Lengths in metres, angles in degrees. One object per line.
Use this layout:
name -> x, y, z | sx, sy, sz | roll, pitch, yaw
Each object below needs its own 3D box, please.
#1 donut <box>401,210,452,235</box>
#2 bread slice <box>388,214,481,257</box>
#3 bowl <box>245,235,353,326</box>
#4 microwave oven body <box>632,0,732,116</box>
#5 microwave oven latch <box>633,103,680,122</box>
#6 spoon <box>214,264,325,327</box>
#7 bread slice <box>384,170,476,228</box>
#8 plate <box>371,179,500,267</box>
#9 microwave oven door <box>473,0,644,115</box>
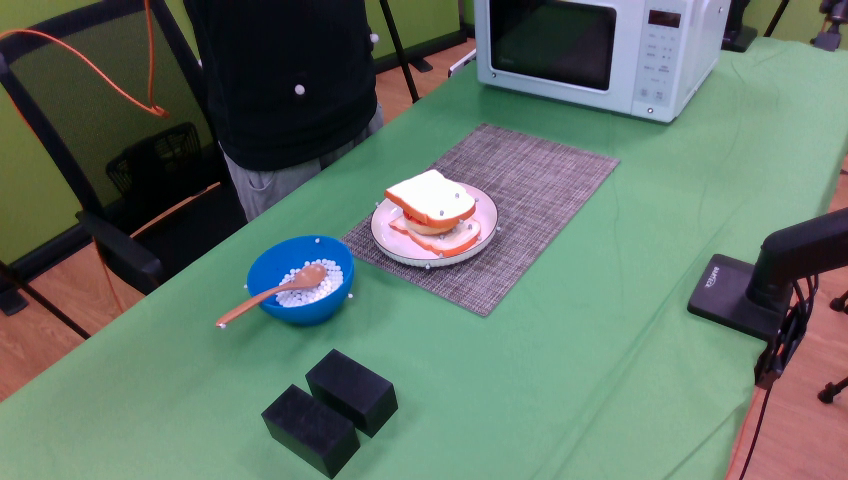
donut -> 0.013, -0.047, 0.957 | 0.099, 0.048, 0.098 | -7, 40, 6
bread slice -> 0.026, -0.023, 0.973 | 0.107, 0.018, 0.133 | -36, 49, -28
bowl -> -0.171, 0.070, 0.868 | 0.151, 0.077, 0.150 | -4, 41, 4
microwave oven body -> 0.377, -0.463, 1.267 | 0.438, 0.261, 0.327 | 21, 49, 30
microwave oven latch -> 0.443, -0.249, 1.158 | 0.078, 0.029, 0.030 | 21, 49, 30
spoon -> -0.207, 0.073, 0.821 | 0.041, 0.021, 0.195 | 23, 27, 26
bread slice -> 0.017, -0.064, 0.935 | 0.105, 0.019, 0.130 | -27, 46, -30
plate -> 0.020, -0.025, 0.977 | 0.207, 0.039, 0.206 | -4, 40, 4
microwave oven door -> 0.257, -0.396, 1.199 | 0.353, 0.245, 0.039 | 21, 48, 29
